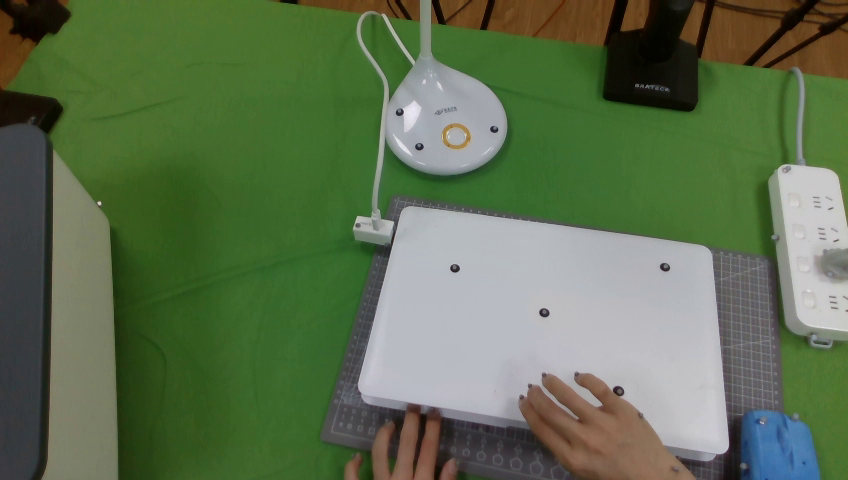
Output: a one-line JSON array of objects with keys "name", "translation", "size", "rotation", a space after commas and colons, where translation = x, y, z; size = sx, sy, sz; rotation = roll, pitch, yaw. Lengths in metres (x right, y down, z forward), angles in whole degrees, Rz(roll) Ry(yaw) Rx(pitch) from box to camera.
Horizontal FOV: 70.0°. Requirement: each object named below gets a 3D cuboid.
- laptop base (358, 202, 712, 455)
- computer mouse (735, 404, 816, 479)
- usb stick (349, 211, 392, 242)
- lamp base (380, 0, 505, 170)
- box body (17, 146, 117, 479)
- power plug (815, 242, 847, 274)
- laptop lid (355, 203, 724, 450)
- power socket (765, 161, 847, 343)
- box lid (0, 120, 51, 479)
[{"name": "laptop base", "translation": [0.124, 0.084, 0.653], "size": [0.354, 0.023, 0.234], "rotation": [8, 66, 5]}, {"name": "computer mouse", "translation": [0.328, 0.211, 0.567], "size": [0.062, 0.041, 0.116], "rotation": [13, 59, 10]}, {"name": "usb stick", "translation": [-0.054, -0.014, 0.695], "size": [0.059, 0.027, 0.021], "rotation": [13, 57, 5]}, {"name": "lamp base", "translation": [0.015, -0.204, 0.718], "size": [0.161, 0.182, 0.177], "rotation": [-25, 61, -12]}, {"name": "box body", "translation": [-0.451, 0.099, 0.576], "size": [0.254, 0.161, 0.360], "rotation": [-14, 62, -7]}, {"name": "power plug", "translation": [0.456, 0.025, 0.644], "size": [0.072, 0.053, 0.035], "rotation": [18, 63, 8]}, {"name": "laptop lid", "translation": [0.123, 0.074, 0.631], "size": [0.356, 0.013, 0.240], "rotation": [9, 58, 7]}, {"name": "power socket", "translation": [0.433, 0.004, 0.681], "size": [0.072, 0.033, 0.225], "rotation": [8, 62, 4]}, {"name": "box lid", "translation": [-0.453, 0.061, 0.511], "size": [0.263, 0.015, 0.368], "rotation": [-14, 63, -7]}]
